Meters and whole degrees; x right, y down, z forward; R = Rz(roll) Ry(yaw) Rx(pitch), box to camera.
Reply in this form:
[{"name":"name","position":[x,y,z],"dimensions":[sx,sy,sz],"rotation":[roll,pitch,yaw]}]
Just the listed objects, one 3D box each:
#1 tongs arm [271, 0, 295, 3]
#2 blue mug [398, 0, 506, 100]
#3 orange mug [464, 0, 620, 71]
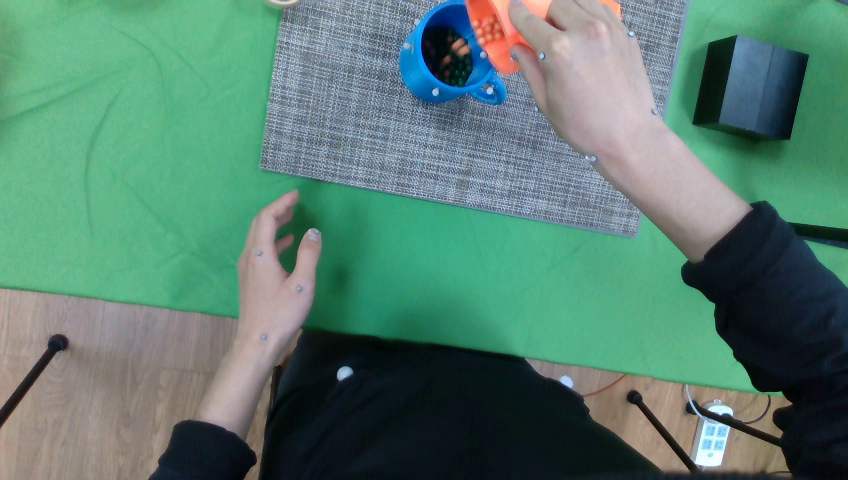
[{"name":"tongs arm","position":[-0.230,-0.396,0.545],"dimensions":[0.051,0.026,0.387],"rotation":[-30,111,-9]},{"name":"blue mug","position":[0.034,-0.181,0.616],"dimensions":[0.117,0.105,0.082],"rotation":[36,90,-15]},{"name":"orange mug","position":[0.101,-0.195,0.509],"dimensions":[0.101,0.124,0.084],"rotation":[-26,137,-1]}]
